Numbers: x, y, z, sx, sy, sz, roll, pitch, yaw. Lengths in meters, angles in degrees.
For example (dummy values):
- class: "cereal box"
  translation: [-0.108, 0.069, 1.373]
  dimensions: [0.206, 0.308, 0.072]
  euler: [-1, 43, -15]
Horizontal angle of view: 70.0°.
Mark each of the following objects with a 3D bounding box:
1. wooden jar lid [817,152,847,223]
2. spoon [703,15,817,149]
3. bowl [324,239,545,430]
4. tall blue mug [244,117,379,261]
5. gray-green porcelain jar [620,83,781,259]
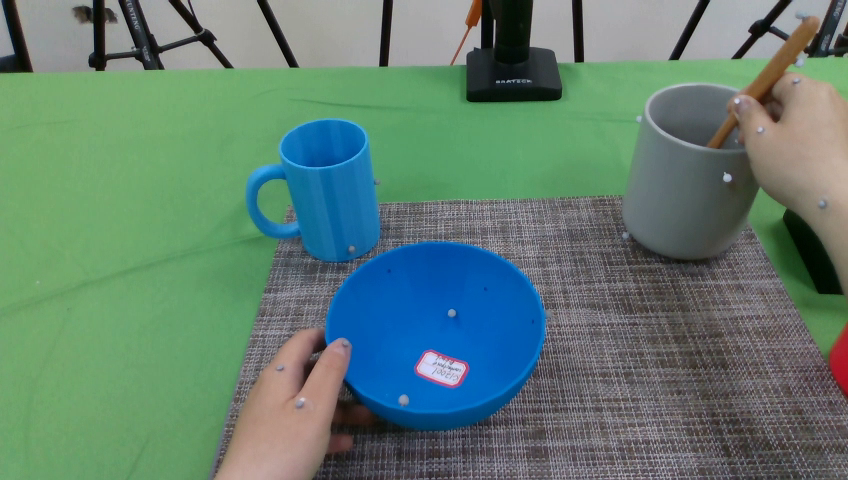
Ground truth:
- class: "wooden jar lid"
  translation: [0.389, -0.037, 0.509]
  dimensions: [0.108, 0.021, 0.107]
  euler: [-2, 43, 2]
- class: "spoon"
  translation: [0.233, -0.084, 0.468]
  dimensions: [0.022, 0.195, 0.041]
  euler: [-15, 58, -22]
- class: "bowl"
  translation: [0.008, 0.078, 0.436]
  dimensions: [0.151, 0.077, 0.150]
  euler: [-2, 43, 2]
- class: "tall blue mug"
  translation: [-0.095, -0.037, 0.542]
  dimensions: [0.107, 0.109, 0.077]
  euler: [-34, 52, -28]
- class: "gray-green porcelain jar"
  translation: [0.232, -0.055, 0.528]
  dimensions: [0.106, 0.128, 0.105]
  euler: [-2, 44, 2]
